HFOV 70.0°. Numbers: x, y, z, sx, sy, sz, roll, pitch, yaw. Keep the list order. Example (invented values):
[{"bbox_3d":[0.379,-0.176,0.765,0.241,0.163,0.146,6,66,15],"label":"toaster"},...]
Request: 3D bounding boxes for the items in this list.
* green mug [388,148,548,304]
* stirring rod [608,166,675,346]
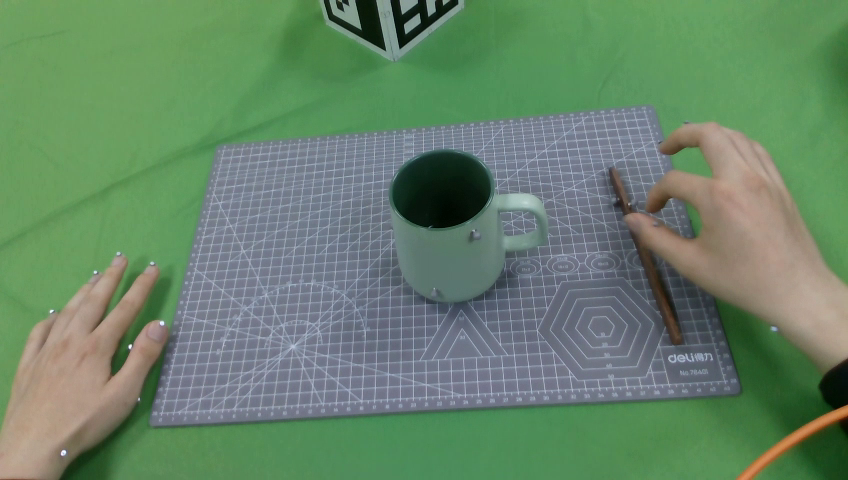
[{"bbox_3d":[0.035,-0.010,0.483,0.125,0.106,0.091,-3,56,6],"label":"green mug"},{"bbox_3d":[0.179,0.007,0.506,0.006,0.014,0.174,-5,56,-2],"label":"stirring rod"}]
